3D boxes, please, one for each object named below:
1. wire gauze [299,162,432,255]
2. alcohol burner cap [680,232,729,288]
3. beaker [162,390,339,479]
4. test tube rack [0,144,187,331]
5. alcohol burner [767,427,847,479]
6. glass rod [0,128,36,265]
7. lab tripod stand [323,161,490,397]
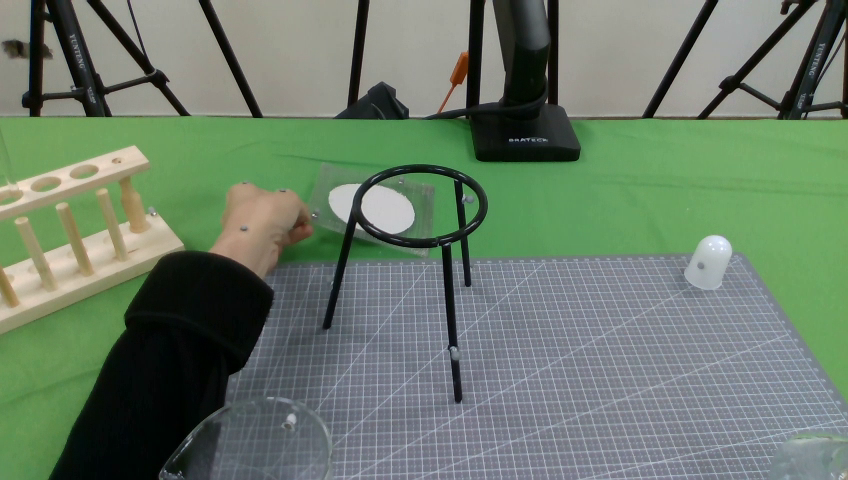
[{"bbox_3d":[-0.053,-0.038,0.596,0.125,0.011,0.120,13,34,-6],"label":"wire gauze"},{"bbox_3d":[0.246,0.015,0.527,0.034,0.048,0.033,1,40,-1],"label":"alcohol burner cap"},{"bbox_3d":[-0.084,0.140,0.319,0.084,0.101,0.073,-3,40,-5],"label":"beaker"},{"bbox_3d":[-0.328,0.010,0.482,0.242,0.086,0.066,-27,48,-30],"label":"test tube rack"},{"bbox_3d":[0.237,0.129,0.332,0.078,0.120,0.077,1,38,-1],"label":"alcohol burner"},{"bbox_3d":[-0.323,-0.063,0.467,0.008,0.201,0.008,4,33,-2],"label":"glass rod"},{"bbox_3d":[-0.007,0.022,0.438,0.148,0.132,0.147,0,41,0],"label":"lab tripod stand"}]
